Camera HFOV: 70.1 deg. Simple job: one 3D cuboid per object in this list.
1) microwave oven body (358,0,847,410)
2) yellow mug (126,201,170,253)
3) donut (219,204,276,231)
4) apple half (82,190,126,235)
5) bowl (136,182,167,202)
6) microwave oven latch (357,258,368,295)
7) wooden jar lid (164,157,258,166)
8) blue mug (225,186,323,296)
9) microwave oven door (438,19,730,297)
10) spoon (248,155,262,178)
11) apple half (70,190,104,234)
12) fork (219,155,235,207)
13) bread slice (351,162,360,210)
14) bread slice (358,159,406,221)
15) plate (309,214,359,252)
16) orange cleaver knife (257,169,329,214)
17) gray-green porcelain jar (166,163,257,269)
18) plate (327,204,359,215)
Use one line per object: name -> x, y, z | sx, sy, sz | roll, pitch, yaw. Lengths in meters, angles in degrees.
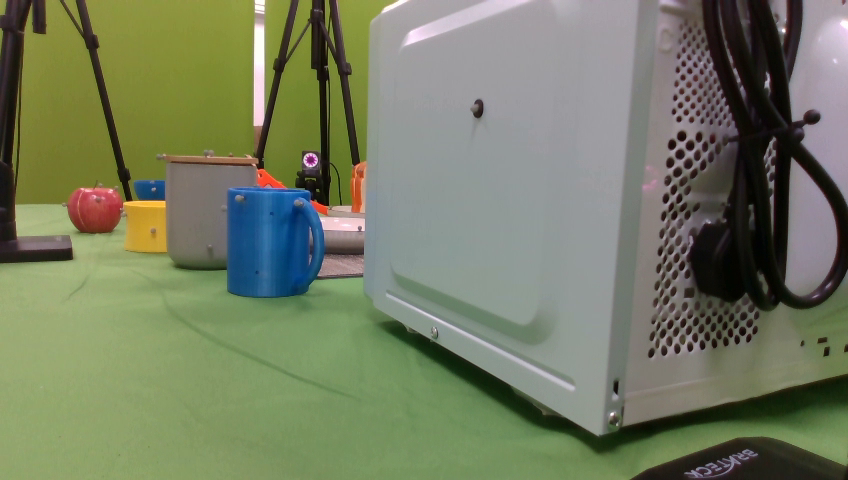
microwave oven body -> 0.210, -0.051, 0.471 | 0.444, 0.260, 0.324 | -1, 7, -28
yellow mug -> -0.361, -0.019, 0.866 | 0.130, 0.064, 0.100 | 6, 9, 27
donut -> -0.316, -0.039, 1.083 | 0.099, 0.048, 0.099 | 2, 7, 0
apple half -> -0.516, -0.046, 0.994 | 0.032, 0.081, 0.081 | 0, 6, 26
bowl -> -0.497, -0.076, 1.221 | 0.151, 0.077, 0.151 | 2, 8, 0
microwave oven latch -> -0.019, 0.031, 0.529 | 0.079, 0.029, 0.030 | -1, 7, -26
wooden jar lid -> -0.261, -0.093, 0.746 | 0.108, 0.020, 0.108 | 0, 9, 0
blue mug -> -0.148, 0.000, 0.618 | 0.116, 0.106, 0.083 | 7, 9, 33
microwave oven door -> 0.181, -0.076, 0.618 | 0.358, 0.243, 0.039 | -2, 8, -28
spoon -> -0.417, -0.150, 1.543 | 0.042, 0.193, 0.021 | -5, -34, -32
apple half -> -0.552, -0.048, 1.010 | 0.053, 0.074, 0.081 | -1, 10, 26
fork -> -0.459, -0.134, 1.415 | 0.028, 0.018, 0.207 | -1, -34, -24
bread slice -> -0.107, -0.112, 1.328 | 0.107, 0.134, 0.018 | 0, -2, -27
bread slice -> -0.089, -0.106, 1.278 | 0.105, 0.131, 0.019 | -1, 0, -24
plate -> -0.130, -0.011, 0.945 | 0.208, 0.039, 0.207 | 2, 8, 0
orange cleaver knife -> -0.286, -0.082, 1.300 | 0.212, 0.077, 0.012 | 26, -6, -31
gray-green porcelain jar -> -0.263, -0.031, 0.754 | 0.106, 0.126, 0.106 | 2, 7, 0
plate -> -0.102, -0.053, 1.299 | 0.209, 0.038, 0.209 | 2, 7, 0
